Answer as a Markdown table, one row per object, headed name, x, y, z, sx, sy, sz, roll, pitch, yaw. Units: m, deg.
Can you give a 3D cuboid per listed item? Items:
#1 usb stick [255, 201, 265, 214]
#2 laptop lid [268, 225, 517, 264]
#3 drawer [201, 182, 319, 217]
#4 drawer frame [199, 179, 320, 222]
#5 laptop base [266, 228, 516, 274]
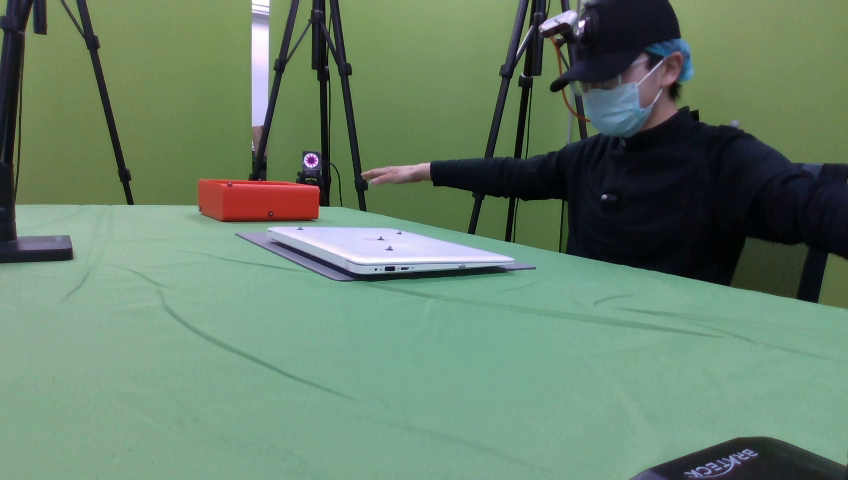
| name | x | y | z | sx | sy | sz | roll | pitch | yaw |
| --- | --- | --- | --- | --- | --- | --- | --- | --- | --- |
| usb stick | -0.368 | -0.074 | 1.360 | 0.021 | 0.027 | 0.059 | 1 | 8 | -16 |
| laptop lid | -0.063 | 0.002 | 0.877 | 0.243 | 0.013 | 0.355 | 1 | 7 | -30 |
| drawer | -0.369 | -0.093 | 1.358 | 0.213 | 0.073 | 0.193 | -3 | 10 | -34 |
| drawer frame | -0.370 | -0.093 | 1.356 | 0.215 | 0.082 | 0.200 | -4 | 10 | -34 |
| laptop base | -0.066 | 0.014 | 0.877 | 0.237 | 0.023 | 0.352 | 2 | 6 | -32 |
